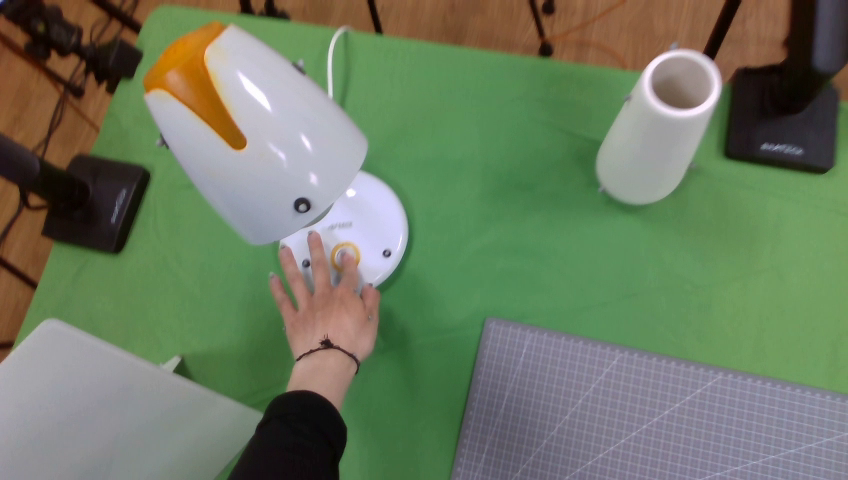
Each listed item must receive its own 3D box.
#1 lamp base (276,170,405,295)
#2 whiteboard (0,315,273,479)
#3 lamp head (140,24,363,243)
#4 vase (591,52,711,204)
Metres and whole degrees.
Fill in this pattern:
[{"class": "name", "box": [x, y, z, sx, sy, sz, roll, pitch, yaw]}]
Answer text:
[{"class": "lamp base", "box": [-0.116, -0.044, 0.676, 0.160, 0.181, 0.178, -19, 69, 1]}, {"class": "whiteboard", "box": [-0.344, 0.175, 0.603, 0.217, 0.309, 0.142, -46, 54, -8]}, {"class": "lamp head", "box": [-0.118, -0.078, 0.397, 0.112, 0.124, 0.111, -28, 31, 19]}, {"class": "vase", "box": [0.240, -0.113, 0.647, 0.098, 0.201, 0.097, -2, 72, 5]}]
